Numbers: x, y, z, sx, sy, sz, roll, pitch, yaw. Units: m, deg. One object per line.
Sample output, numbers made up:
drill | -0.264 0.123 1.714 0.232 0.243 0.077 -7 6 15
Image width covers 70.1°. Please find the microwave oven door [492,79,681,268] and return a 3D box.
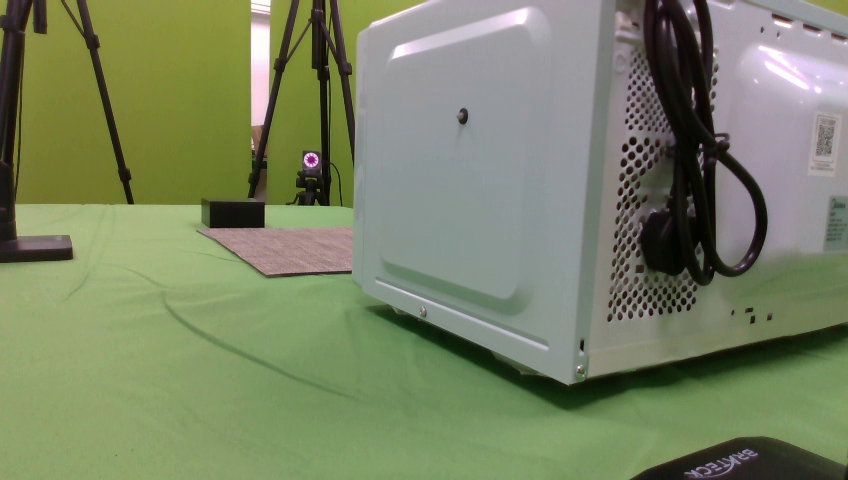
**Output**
microwave oven door | 0.224 -0.105 0.921 0.039 0.243 0.354 -2 8 -28

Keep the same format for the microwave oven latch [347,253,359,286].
microwave oven latch | -0.034 0.028 0.581 0.079 0.029 0.030 -1 7 -31

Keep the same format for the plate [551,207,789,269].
plate | 0.224 -0.004 0.572 0.209 0.038 0.209 3 8 0

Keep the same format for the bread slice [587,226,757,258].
bread slice | 0.225 0.000 0.570 0.132 0.019 0.104 3 5 -23

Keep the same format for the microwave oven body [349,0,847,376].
microwave oven body | 0.199 -0.053 0.540 0.444 0.260 0.324 -1 7 -32
